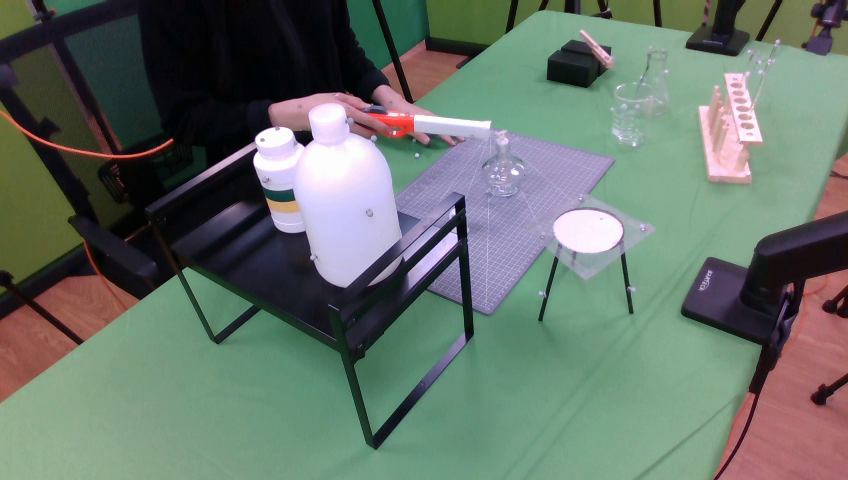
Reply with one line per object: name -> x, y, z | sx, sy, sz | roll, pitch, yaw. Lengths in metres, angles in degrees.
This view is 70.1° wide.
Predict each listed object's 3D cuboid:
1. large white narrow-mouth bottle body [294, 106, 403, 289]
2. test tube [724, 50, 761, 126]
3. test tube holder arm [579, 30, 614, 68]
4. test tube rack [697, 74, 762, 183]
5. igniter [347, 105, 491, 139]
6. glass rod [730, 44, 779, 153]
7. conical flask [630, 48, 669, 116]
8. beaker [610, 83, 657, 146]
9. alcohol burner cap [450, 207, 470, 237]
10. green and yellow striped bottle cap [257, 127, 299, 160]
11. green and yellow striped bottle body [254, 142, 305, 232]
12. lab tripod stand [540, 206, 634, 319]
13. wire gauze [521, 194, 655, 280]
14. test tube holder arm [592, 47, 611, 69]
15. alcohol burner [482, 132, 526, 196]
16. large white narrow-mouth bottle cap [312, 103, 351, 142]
large white narrow-mouth bottle body -> -0.082, -0.047, 0.634 | 0.102, 0.195, 0.101 | -4, 40, 4
test tube -> 0.570, -0.269, 1.086 | 0.017, 0.151, 0.017 | -1, 46, 1
test tube holder arm -> 0.384, -0.428, 1.351 | 0.013, 0.015, 0.177 | -10, 41, -4
test tube rack -> 0.547, -0.208, 1.094 | 0.066, 0.085, 0.242 | 5, 42, 15
igniter -> -0.026, -0.197, 1.016 | 0.276, 0.057, 0.025 | 6, 51, 7
glass rod -> 0.555, -0.234, 1.020 | 0.008, 0.200, 0.008 | 2, 40, -1
conical flask -> 0.457, -0.317, 1.205 | 0.075, 0.122, 0.075 | -4, 41, 4
beaker -> 0.388, -0.235, 1.137 | 0.074, 0.101, 0.083 | -31, 45, -26
alcohol burner cap -> 0.057, -0.032, 0.987 | 0.034, 0.048, 0.033 | -5, 41, 4
green and yellow striped bottle cap -> -0.169, -0.112, 0.698 | 0.045, 0.020, 0.045 | -5, 40, 5
green and yellow striped bottle body -> -0.165, -0.073, 0.732 | 0.063, 0.120, 0.063 | -4, 41, 4
lab tripod stand -> 0.218, 0.034, 0.821 | 0.148, 0.132, 0.147 | -4, 42, 4
wire gauze -> 0.207, -0.012, 0.772 | 0.122, 0.011, 0.124 | -28, 44, -20
test tube holder arm -> 0.386, -0.398, 1.317 | 0.010, 0.015, 0.087 | -10, 41, -3
alcohol burner -> 0.137, -0.136, 1.042 | 0.078, 0.119, 0.077 | -4, 43, 4
large white narrow-mouth bottle cap -> -0.089, -0.113, 0.580 | 0.038, 0.024, 0.037 | -3, 40, 3
